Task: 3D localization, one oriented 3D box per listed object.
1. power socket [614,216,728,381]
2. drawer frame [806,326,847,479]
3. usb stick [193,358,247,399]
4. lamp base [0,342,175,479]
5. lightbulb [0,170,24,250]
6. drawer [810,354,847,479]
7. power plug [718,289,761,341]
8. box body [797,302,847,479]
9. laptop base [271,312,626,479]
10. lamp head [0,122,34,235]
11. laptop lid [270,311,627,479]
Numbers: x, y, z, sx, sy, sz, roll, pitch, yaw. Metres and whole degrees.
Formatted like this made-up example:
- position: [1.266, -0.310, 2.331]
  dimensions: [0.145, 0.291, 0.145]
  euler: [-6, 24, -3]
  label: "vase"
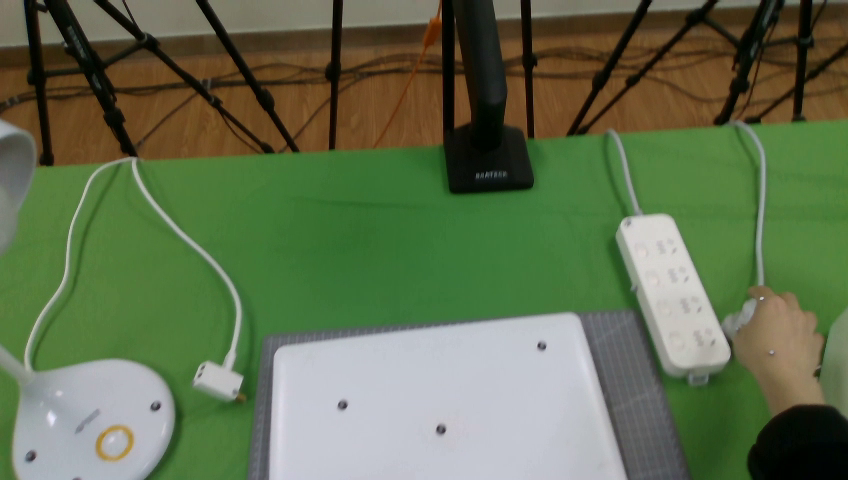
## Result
- position: [0.294, 0.060, 0.734]
  dimensions: [0.072, 0.033, 0.224]
  euler: [-4, 53, -4]
  label: "power socket"
- position: [0.513, 0.192, 0.594]
  dimensions: [0.200, 0.083, 0.213]
  euler: [29, 54, 19]
  label: "drawer frame"
- position: [-0.218, 0.153, 0.658]
  dimensions: [0.021, 0.060, 0.027]
  euler: [-27, 37, 37]
  label: "usb stick"
- position: [-0.358, 0.146, 0.581]
  dimensions: [0.178, 0.182, 0.160]
  euler: [18, 55, 17]
  label: "lamp base"
- position: [-0.277, -0.036, 0.339]
  dimensions: [0.059, 0.059, 0.108]
  euler: [-42, 102, -26]
  label: "lightbulb"
- position: [0.518, 0.192, 0.593]
  dimensions: [0.193, 0.074, 0.211]
  euler: [28, 60, 20]
  label: "drawer"
- position: [0.373, 0.093, 0.705]
  dimensions: [0.073, 0.053, 0.035]
  euler: [-15, 49, -33]
  label: "power plug"
- position: [0.499, 0.210, 0.540]
  dimensions: [0.253, 0.162, 0.362]
  euler: [24, 57, 17]
  label: "box body"
- position: [0.018, 0.199, 0.640]
  dimensions: [0.355, 0.023, 0.233]
  euler: [-6, 57, -4]
  label: "laptop base"
- position: [-0.309, -0.038, 0.339]
  dimensions: [0.123, 0.113, 0.111]
  euler: [25, 54, -10]
  label: "lamp head"
- position: [0.018, 0.194, 0.629]
  dimensions: [0.357, 0.013, 0.239]
  euler: [-5, 56, -3]
  label: "laptop lid"
